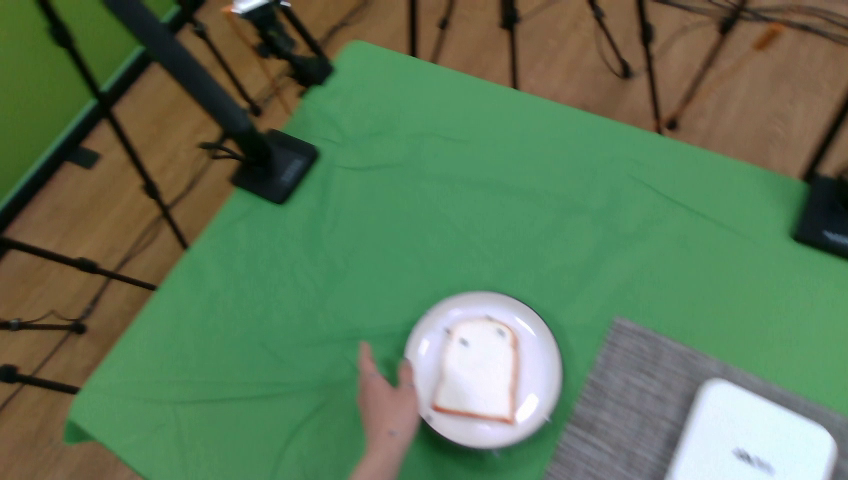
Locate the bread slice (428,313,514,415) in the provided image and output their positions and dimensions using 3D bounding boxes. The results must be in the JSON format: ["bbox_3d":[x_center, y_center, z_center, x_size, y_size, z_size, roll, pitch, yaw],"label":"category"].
[{"bbox_3d":[0.066,0.160,0.806,0.104,0.019,0.130,5,63,12],"label":"bread slice"}]

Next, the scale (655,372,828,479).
[{"bbox_3d":[0.357,0.265,0.694,0.147,0.032,0.200,24,69,21],"label":"scale"}]

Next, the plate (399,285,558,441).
[{"bbox_3d":[0.072,0.160,0.803,0.209,0.038,0.207,-4,62,8],"label":"plate"}]
